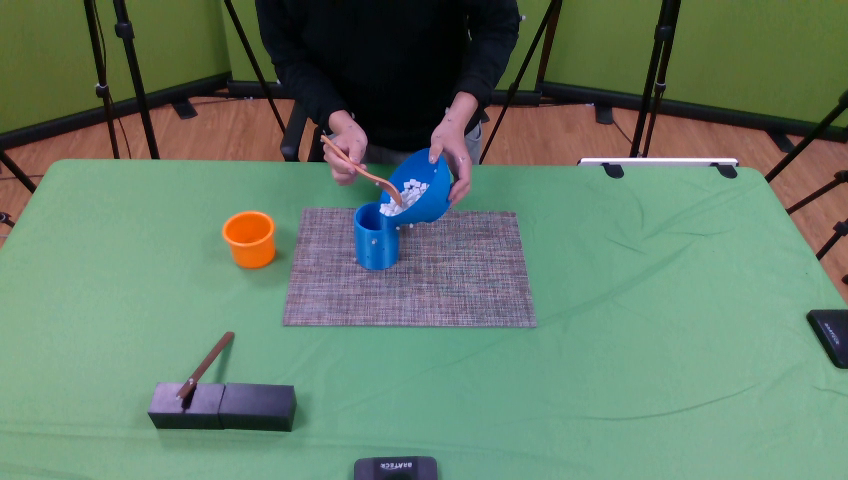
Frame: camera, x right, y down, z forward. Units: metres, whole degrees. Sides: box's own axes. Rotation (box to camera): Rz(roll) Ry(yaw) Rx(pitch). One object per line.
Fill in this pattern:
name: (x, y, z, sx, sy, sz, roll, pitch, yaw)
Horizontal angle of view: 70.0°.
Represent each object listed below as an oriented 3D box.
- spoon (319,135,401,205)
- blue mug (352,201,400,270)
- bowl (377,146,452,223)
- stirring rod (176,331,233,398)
spoon: (-0.114, -0.126, 1.071, 0.193, 0.042, 0.021, 36, 75, 6)
blue mug: (-0.082, -0.017, 1.144, 0.082, 0.106, 0.116, 30, 51, 22)
bowl: (-0.004, -0.083, 1.077, 0.077, 0.151, 0.150, 38, 36, -31)
stirring rod: (-0.342, 0.192, 0.955, 0.014, 0.006, 0.175, 3, 24, 7)
